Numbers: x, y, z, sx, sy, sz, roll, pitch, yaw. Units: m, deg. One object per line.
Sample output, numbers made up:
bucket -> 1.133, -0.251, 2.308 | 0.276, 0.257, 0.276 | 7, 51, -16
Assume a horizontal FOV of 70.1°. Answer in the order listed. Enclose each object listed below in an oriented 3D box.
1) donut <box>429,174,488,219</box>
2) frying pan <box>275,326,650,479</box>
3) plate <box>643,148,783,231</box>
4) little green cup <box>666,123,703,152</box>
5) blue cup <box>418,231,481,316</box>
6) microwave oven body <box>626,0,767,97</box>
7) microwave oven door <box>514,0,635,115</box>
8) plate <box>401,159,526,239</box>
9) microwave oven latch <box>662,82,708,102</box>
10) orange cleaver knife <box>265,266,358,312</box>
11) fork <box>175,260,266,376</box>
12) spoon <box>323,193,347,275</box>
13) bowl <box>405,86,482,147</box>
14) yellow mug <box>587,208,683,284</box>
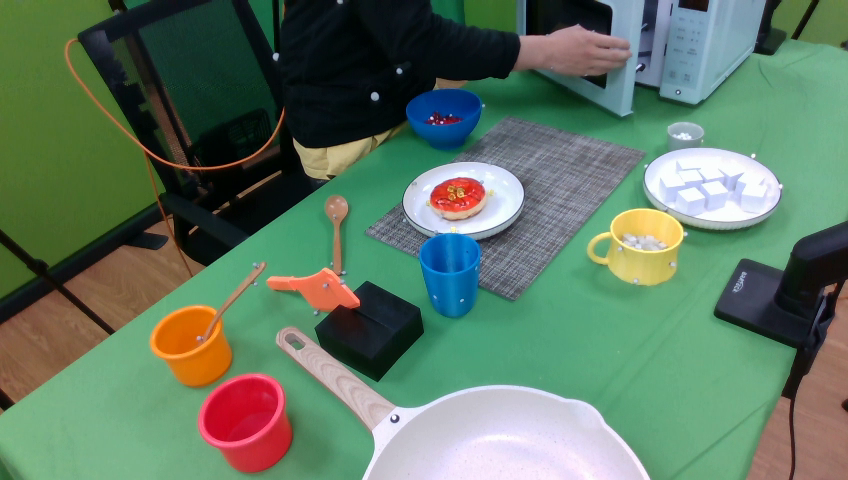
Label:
donut -> 0.058, -0.075, 1.015 | 0.099, 0.048, 0.098 | -6, 38, 5
frying pan -> 0.003, 0.229, 0.641 | 0.484, 0.103, 0.308 | 34, 54, 28
plate -> 0.464, -0.080, 0.986 | 0.207, 0.039, 0.206 | -4, 41, 4
little green cup -> 0.472, -0.183, 1.102 | 0.061, 0.039, 0.061 | -5, 39, 4
blue cup -> 0.040, 0.053, 0.843 | 0.092, 0.100, 0.092 | -4, 43, 4
microwave oven body -> 0.473, -0.516, 1.313 | 0.438, 0.261, 0.327 | 26, 51, 34
microwave oven door -> 0.302, -0.432, 1.233 | 0.039, 0.245, 0.352 | -24, 43, -19
plate -> 0.067, -0.065, 1.019 | 0.209, 0.038, 0.208 | -4, 40, 4
microwave oven latch -> 0.518, -0.298, 1.202 | 0.078, 0.029, 0.030 | 29, 53, 36
orange cleaver knife -> -0.164, 0.073, 0.864 | 0.210, 0.077, 0.012 | -6, 30, 50
fork -> -0.268, 0.103, 0.792 | 0.207, 0.019, 0.028 | -51, 41, 16
spoon -> -0.148, -0.014, 1.007 | 0.042, 0.021, 0.192 | 5, 39, -13
bowl -> 0.041, -0.236, 1.197 | 0.151, 0.077, 0.150 | -4, 40, 4
yellow mug -> 0.305, 0.009, 0.884 | 0.131, 0.064, 0.099 | -4, 41, 5
